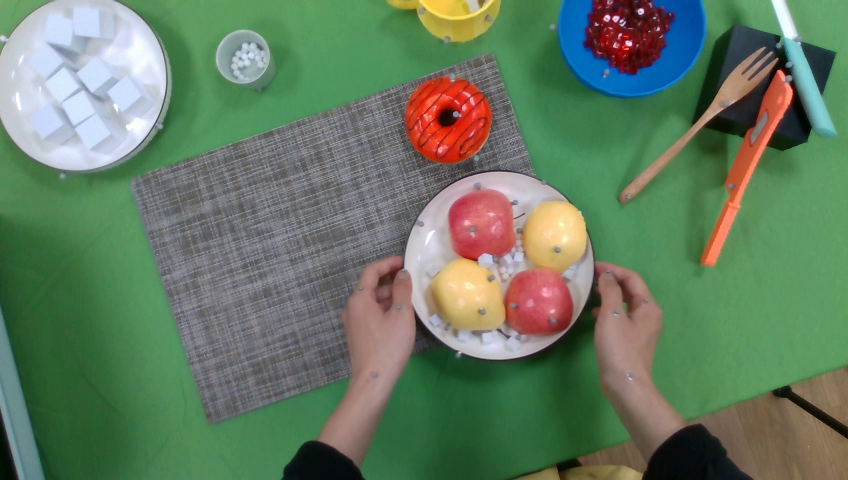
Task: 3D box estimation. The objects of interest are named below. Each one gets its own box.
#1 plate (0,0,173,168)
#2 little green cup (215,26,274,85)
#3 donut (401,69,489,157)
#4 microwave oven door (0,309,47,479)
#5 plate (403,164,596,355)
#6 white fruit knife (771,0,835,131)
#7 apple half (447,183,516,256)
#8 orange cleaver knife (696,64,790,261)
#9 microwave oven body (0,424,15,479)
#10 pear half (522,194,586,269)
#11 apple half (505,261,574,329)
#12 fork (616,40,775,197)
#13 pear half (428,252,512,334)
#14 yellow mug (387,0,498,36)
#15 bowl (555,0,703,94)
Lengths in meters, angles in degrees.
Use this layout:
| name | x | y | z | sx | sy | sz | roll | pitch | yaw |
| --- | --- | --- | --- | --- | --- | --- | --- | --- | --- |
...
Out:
| name | x | y | z | sx | sy | sz | roll | pitch | yaw |
| --- | --- | --- | --- | --- | --- | --- | --- | --- | --- |
| plate | -0.390 | -0.185 | 0.705 | 0.207 | 0.039 | 0.207 | 0 | 89 | 3 |
| little green cup | -0.203 | -0.209 | 0.696 | 0.061 | 0.038 | 0.061 | 0 | 88 | 4 |
| donut | 0.023 | -0.141 | 0.675 | 0.099 | 0.048 | 0.099 | 0 | 90 | 5 |
| microwave oven door | -0.477 | 0.201 | 0.581 | 0.039 | 0.244 | 0.355 | -17 | 87 | 3 |
| plate | 0.082 | 0.021 | 0.668 | 0.209 | 0.038 | 0.208 | 0 | 87 | 3 |
| white fruit knife | 0.380 | -0.209 | 0.627 | 0.027 | 0.016 | 0.207 | -16 | 85 | -26 |
| apple half | 0.062 | -0.023 | 0.654 | 0.074 | 0.053 | 0.081 | -4 | 90 | 4 |
| orange cleaver knife | 0.334 | -0.079 | 0.643 | 0.012 | 0.077 | 0.212 | 17 | 115 | 9 |
| microwave oven body | -0.629 | 0.201 | 0.594 | 0.326 | 0.260 | 0.441 | -16 | 88 | 2 |
| pear half | 0.136 | -0.005 | 0.653 | 0.070 | 0.031 | 0.088 | 10 | 96 | 27 |
| apple half | 0.117 | 0.060 | 0.647 | 0.081 | 0.033 | 0.081 | 1 | 92 | 25 |
| fork | 0.281 | -0.123 | 0.644 | 0.028 | 0.018 | 0.207 | 39 | 111 | -4 |
| pear half | 0.057 | 0.064 | 0.654 | 0.110 | 0.056 | 0.076 | 41 | 94 | 0 |
| yellow mug | 0.019 | -0.284 | 0.672 | 0.131 | 0.064 | 0.100 | -8 | 88 | 4 |
| bowl | 0.211 | -0.225 | 0.655 | 0.151 | 0.077 | 0.151 | 0 | 89 | 3 |
